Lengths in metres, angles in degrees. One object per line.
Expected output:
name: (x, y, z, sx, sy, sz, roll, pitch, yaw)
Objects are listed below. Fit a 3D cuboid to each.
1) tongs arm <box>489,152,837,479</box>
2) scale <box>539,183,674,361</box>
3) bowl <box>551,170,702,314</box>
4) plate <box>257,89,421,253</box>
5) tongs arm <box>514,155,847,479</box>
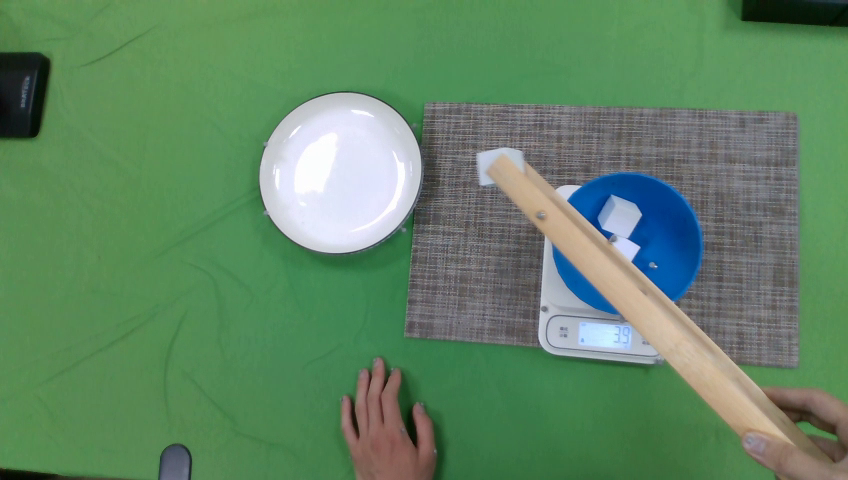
tongs arm: (0.185, 0.065, 0.482, 0.028, 0.028, 0.384, -48, 69, 19)
scale: (0.214, 0.035, 0.704, 0.148, 0.032, 0.200, 4, 82, 8)
bowl: (0.209, 0.007, 0.655, 0.151, 0.077, 0.151, -1, 82, 6)
plate: (-0.104, -0.084, 0.761, 0.207, 0.039, 0.207, -1, 81, 6)
tongs arm: (0.198, 0.064, 0.503, 0.382, 0.051, 0.026, 47, 113, 16)
